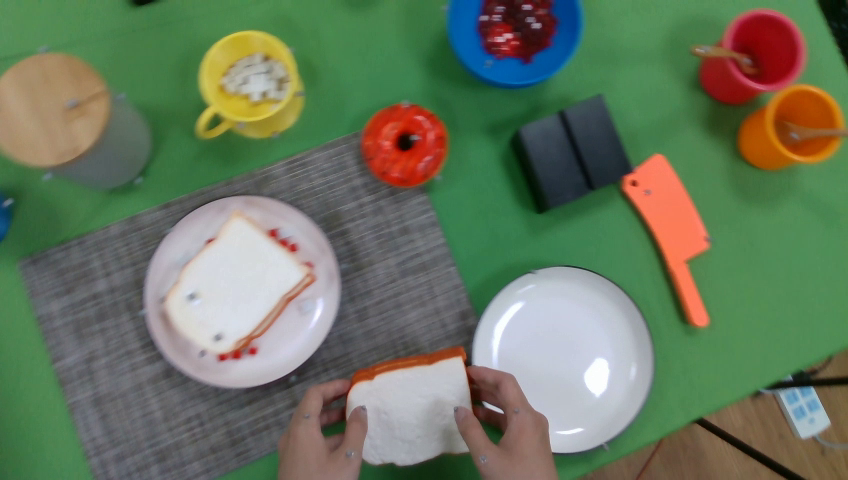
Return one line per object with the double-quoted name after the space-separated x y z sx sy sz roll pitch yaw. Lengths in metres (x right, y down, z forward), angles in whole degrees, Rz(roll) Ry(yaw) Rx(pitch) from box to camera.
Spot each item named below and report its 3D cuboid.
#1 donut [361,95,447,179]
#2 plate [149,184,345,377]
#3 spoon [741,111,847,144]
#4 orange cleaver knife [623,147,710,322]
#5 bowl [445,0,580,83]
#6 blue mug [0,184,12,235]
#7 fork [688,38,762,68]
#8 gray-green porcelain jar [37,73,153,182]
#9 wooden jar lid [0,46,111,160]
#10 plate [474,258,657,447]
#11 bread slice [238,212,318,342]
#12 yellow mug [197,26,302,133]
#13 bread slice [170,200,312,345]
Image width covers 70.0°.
-0.022 -0.117 0.692 0.099 0.048 0.099 0 85 -4 "donut"
-0.190 0.044 0.668 0.208 0.039 0.207 0 85 -4 "plate"
0.462 -0.126 0.680 0.022 0.192 0.041 24 79 -46 "spoon"
0.304 -0.008 0.723 0.077 0.012 0.211 -21 85 -12 "orange cleaver knife"
0.095 -0.245 0.699 0.151 0.077 0.151 0 85 -4 "bowl"
-0.508 -0.026 0.620 0.082 0.106 0.116 42 83 1 "blue mug"
0.341 -0.213 0.680 0.208 0.018 0.028 -11 85 -47 "fork"
-0.352 -0.119 0.630 0.106 0.126 0.105 0 84 -4 "gray-green porcelain jar"
-0.348 -0.126 0.568 0.108 0.021 0.108 0 83 -3 "wooden jar lid"
0.158 0.125 0.690 0.209 0.038 0.208 0 85 -3 "plate"
-0.198 0.048 0.670 0.105 0.019 0.131 41 82 -1 "bread slice"
-0.201 -0.167 0.676 0.100 0.064 0.131 44 84 0 "yellow mug"
-0.197 0.042 0.642 0.107 0.018 0.134 36 82 2 "bread slice"
